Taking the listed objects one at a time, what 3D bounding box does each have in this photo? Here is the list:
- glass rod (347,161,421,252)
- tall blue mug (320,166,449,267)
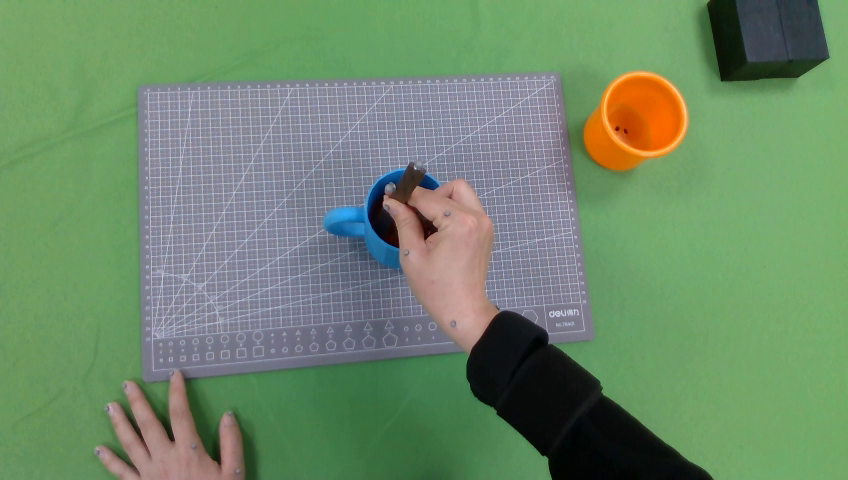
[{"bbox_3d":[-0.039,-0.022,0.508,0.008,0.200,0.008,7,69,-19],"label":"glass rod"},{"bbox_3d":[-0.035,-0.012,0.575,0.107,0.108,0.077,-28,85,-11],"label":"tall blue mug"}]
